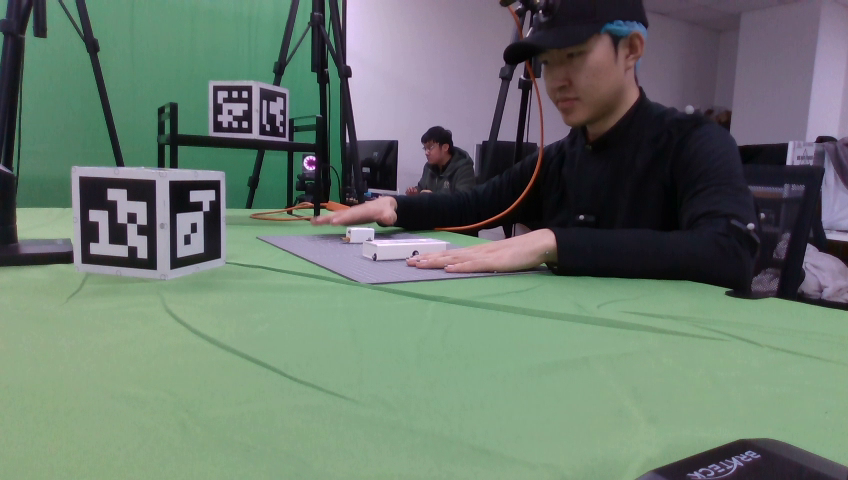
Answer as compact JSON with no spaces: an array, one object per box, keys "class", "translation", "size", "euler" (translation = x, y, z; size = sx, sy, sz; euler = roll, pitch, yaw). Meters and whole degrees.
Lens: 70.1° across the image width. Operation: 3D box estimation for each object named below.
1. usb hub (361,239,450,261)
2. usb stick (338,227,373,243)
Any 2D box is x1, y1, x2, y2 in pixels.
[{"class":"usb hub","translation":[-0.026,0.013,0.894],"size":[0.126,0.025,0.049],"euler":[-1,8,-32]},{"class":"usb stick","translation":[-0.117,-0.008,1.030],"size":[0.059,0.027,0.021],"euler":[-4,10,-30]}]
